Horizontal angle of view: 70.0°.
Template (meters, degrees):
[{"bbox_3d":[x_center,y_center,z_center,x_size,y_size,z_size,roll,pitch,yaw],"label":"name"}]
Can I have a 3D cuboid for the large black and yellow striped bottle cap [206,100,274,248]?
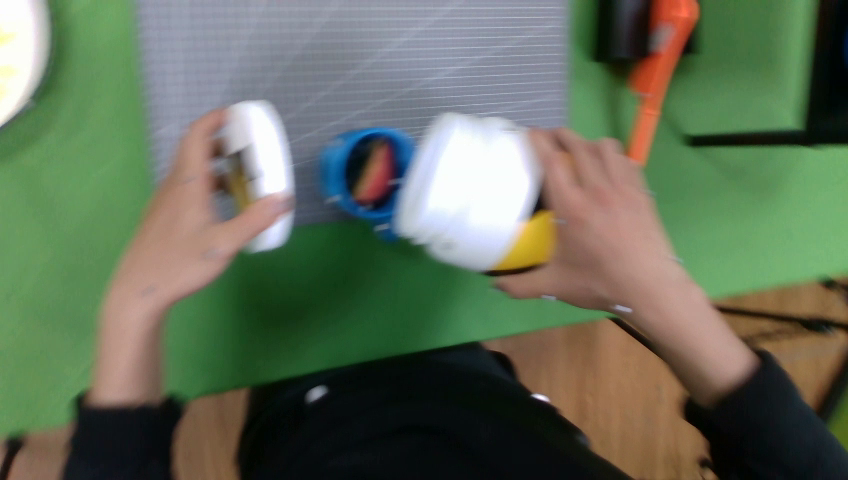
[{"bbox_3d":[-0.146,-0.050,0.474,0.019,0.114,0.115,-15,104,-27],"label":"large black and yellow striped bottle cap"}]

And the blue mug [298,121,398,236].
[{"bbox_3d":[-0.069,-0.058,0.597,0.082,0.105,0.117,-25,107,-15],"label":"blue mug"}]

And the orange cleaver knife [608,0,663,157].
[{"bbox_3d":[0.233,-0.200,0.700,0.012,0.076,0.213,-6,128,-10],"label":"orange cleaver knife"}]

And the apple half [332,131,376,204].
[{"bbox_3d":[-0.063,-0.067,0.592,0.033,0.081,0.081,24,90,-14],"label":"apple half"}]

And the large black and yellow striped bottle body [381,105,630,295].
[{"bbox_3d":[0.066,-0.035,0.525,0.185,0.130,0.131,17,93,-15],"label":"large black and yellow striped bottle body"}]

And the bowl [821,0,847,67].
[{"bbox_3d":[0.448,-0.217,0.587,0.152,0.076,0.152,-3,100,-20],"label":"bowl"}]

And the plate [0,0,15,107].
[{"bbox_3d":[-0.443,-0.164,0.479,0.210,0.038,0.209,-4,101,-19],"label":"plate"}]
